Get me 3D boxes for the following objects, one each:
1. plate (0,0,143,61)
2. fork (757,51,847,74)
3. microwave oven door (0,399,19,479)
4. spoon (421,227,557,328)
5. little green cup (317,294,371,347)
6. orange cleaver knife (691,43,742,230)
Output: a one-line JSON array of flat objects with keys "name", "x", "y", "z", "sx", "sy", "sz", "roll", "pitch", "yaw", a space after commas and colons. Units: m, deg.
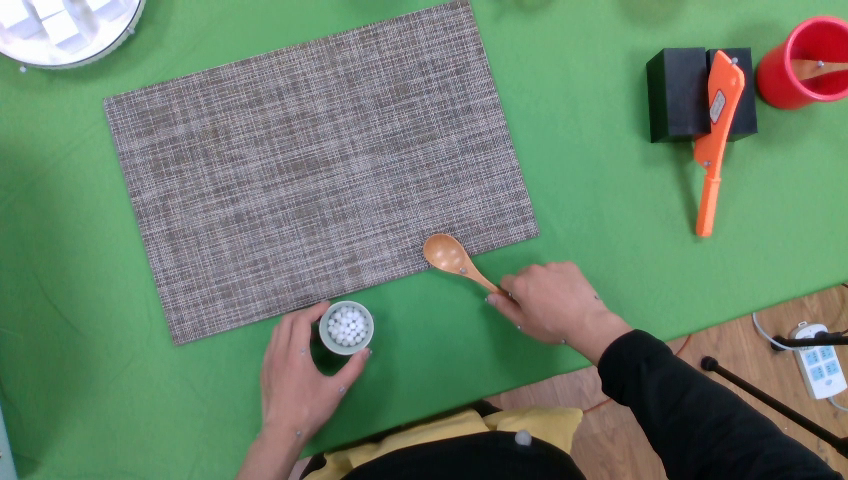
[{"name": "plate", "x": -0.420, "y": -0.304, "z": 0.694, "sx": 0.208, "sy": 0.039, "sz": 0.207, "roll": 0, "pitch": 88, "yaw": -3}, {"name": "fork", "x": 0.491, "y": -0.204, "z": 0.683, "sx": 0.206, "sy": 0.019, "sz": 0.028, "roll": 11, "pitch": 84, "yaw": 39}, {"name": "microwave oven door", "x": -0.505, "y": 0.097, "z": 0.561, "sx": 0.039, "sy": 0.244, "sz": 0.355, "roll": -14, "pitch": 89, "yaw": -3}, {"name": "spoon", "x": 0.078, "y": 0.049, "z": 0.715, "sx": 0.194, "sy": 0.021, "sz": 0.041, "roll": 36, "pitch": 84, "yaw": -1}, {"name": "little green cup", "x": -0.091, "y": 0.092, "z": 0.701, "sx": 0.061, "sy": 0.038, "sz": 0.061, "roll": 0, "pitch": 86, "yaw": -2}, {"name": "orange cleaver knife", "x": 0.330, "y": -0.115, "z": 0.705, "sx": 0.012, "sy": 0.076, "sz": 0.213, "roll": -2, "pitch": 118, "yaw": 0}]
